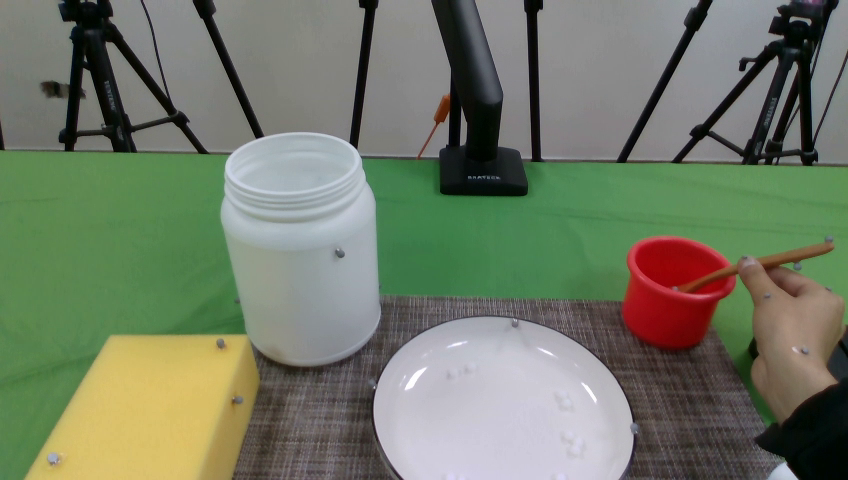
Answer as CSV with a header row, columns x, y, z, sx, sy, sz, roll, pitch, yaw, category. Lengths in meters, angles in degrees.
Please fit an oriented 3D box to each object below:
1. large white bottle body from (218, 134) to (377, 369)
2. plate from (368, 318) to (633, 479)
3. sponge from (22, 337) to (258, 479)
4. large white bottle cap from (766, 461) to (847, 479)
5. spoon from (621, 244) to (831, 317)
x,y,z,sx,sy,sz,roll,pitch,yaw,category
-0.110,0.010,0.548,0.130,0.186,0.129,1,36,0,large white bottle body
0.059,0.147,0.492,0.209,0.038,0.207,2,35,-1,plate
-0.206,0.163,0.441,0.118,0.061,0.205,-1,35,0,sponge
0.299,0.211,0.432,0.115,0.018,0.113,3,36,-2,large white bottle cap
0.266,0.038,0.556,0.022,0.193,0.041,52,47,-6,spoon
